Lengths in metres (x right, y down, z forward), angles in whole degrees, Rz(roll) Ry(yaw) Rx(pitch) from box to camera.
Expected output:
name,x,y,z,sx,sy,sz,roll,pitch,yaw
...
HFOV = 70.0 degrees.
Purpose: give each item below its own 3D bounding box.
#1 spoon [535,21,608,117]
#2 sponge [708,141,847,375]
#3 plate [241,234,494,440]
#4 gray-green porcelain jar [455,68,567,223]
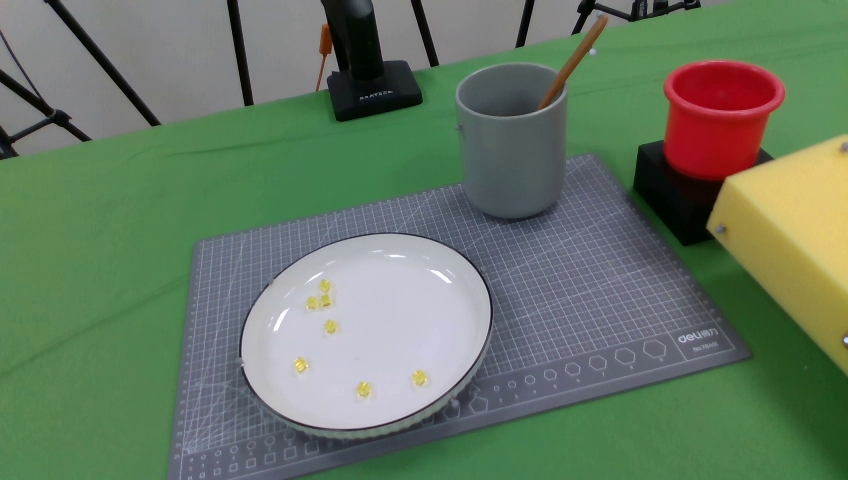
name,x,y,z,sx,sy,sz,roll,pitch,yaw
spoon,0.114,-0.117,0.571,0.022,0.194,0.041,19,36,-11
sponge,0.327,0.025,0.435,0.118,0.061,0.204,-20,50,-11
plate,-0.045,0.076,0.507,0.207,0.039,0.205,-5,42,5
gray-green porcelain jar,0.088,-0.089,0.601,0.106,0.128,0.105,-5,42,5
